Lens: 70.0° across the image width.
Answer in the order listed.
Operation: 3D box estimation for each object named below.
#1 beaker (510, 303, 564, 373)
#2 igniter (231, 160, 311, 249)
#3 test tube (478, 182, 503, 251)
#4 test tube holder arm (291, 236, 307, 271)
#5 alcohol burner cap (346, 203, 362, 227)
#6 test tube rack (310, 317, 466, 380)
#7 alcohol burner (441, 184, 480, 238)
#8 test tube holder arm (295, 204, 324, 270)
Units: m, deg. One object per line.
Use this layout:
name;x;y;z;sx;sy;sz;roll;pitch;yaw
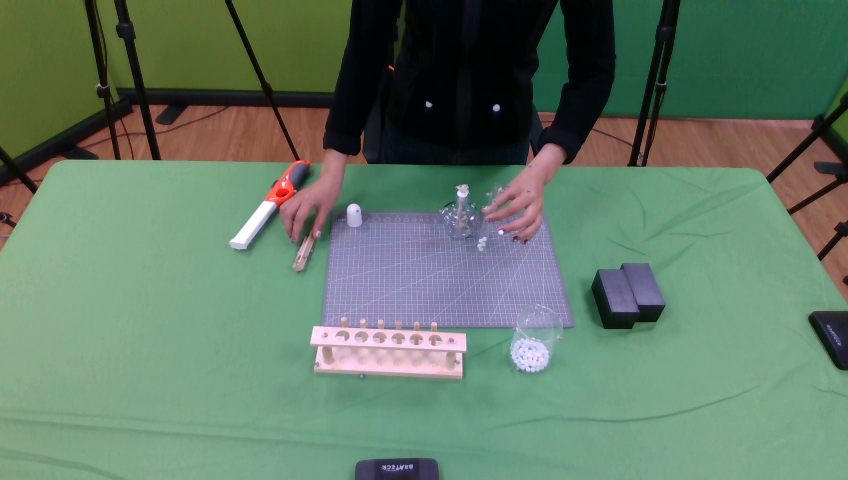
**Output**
beaker;0.182;0.164;1.000;0.074;0.101;0.083;2;45;-1
igniter;-0.311;-0.081;1.250;0.057;0.025;0.275;9;45;18
test tube;0.114;-0.037;1.047;0.017;0.151;0.017;6;42;-5
test tube holder arm;-0.234;0.024;1.163;0.010;0.015;0.087;-18;38;28
alcohol burner cap;-0.142;-0.053;1.222;0.034;0.048;0.033;2;47;-2
test tube rack;-0.056;0.171;0.986;0.242;0.085;0.066;3;45;-1
alcohol burner;0.073;-0.061;1.195;0.078;0.120;0.077;1;47;-1
test tube holder arm;-0.223;-0.009;1.192;0.013;0.015;0.177;-19;37;27
